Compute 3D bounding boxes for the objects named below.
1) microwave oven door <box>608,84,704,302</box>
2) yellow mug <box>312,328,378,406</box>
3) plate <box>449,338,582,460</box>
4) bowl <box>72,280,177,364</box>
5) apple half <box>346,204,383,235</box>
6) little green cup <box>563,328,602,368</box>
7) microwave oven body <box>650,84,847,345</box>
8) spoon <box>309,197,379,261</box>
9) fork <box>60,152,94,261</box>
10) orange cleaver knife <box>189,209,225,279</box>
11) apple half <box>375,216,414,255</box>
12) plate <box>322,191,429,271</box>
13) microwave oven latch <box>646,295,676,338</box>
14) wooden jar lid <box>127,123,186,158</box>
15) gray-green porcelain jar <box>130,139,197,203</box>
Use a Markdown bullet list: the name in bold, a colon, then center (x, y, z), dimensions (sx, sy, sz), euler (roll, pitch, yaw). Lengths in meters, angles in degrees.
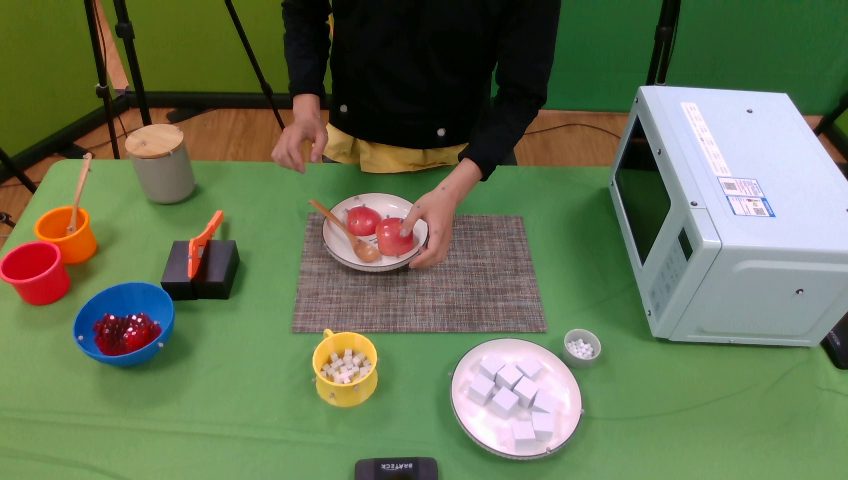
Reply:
- **microwave oven door**: center (0.424, -0.096, 1.138), dimensions (0.039, 0.245, 0.353), euler (2, 47, -1)
- **yellow mug**: center (-0.132, 0.193, 0.971), dimensions (0.100, 0.064, 0.130), euler (-22, 51, -22)
- **plate**: center (0.141, 0.251, 0.956), dimensions (0.208, 0.039, 0.206), euler (2, 46, -2)
- **bowl**: center (-0.473, 0.147, 0.982), dimensions (0.151, 0.077, 0.150), euler (2, 46, -2)
- **apple half**: center (-0.119, -0.049, 1.206), dimensions (0.081, 0.033, 0.081), euler (3, 50, -3)
- **little green cup**: center (0.265, 0.184, 1.025), dimensions (0.061, 0.039, 0.061), euler (1, 46, -1)
- **microwave oven body**: center (0.569, -0.054, 1.116), dimensions (0.326, 0.261, 0.439), euler (2, 46, -1)
- **spoon**: center (-0.158, -0.025, 1.172), dimensions (0.041, 0.022, 0.193), euler (-39, 72, -23)
- **fork**: center (-0.638, -0.063, 1.119), dimensions (0.028, 0.018, 0.207), euler (12, 90, 9)
- **orange cleaver knife**: center (-0.401, 0.002, 1.122), dimensions (0.012, 0.077, 0.210), euler (4, 23, -4)
- **apple half**: center (-0.056, -0.017, 1.168), dimensions (0.075, 0.053, 0.080), euler (0, 47, -7)
- **plate**: center (-0.093, -0.015, 1.185), dimensions (0.209, 0.038, 0.208), euler (2, 46, -2)
- **microwave oven latch**: center (0.413, 0.133, 1.061), dimensions (0.030, 0.029, 0.078), euler (4, 46, 1)
- **wooden jar lid**: center (-0.519, -0.190, 1.179), dimensions (0.108, 0.021, 0.107), euler (2, 44, -2)
- **gray-green porcelain jar**: center (-0.522, -0.148, 1.224), dimensions (0.106, 0.127, 0.105), euler (2, 47, -2)
